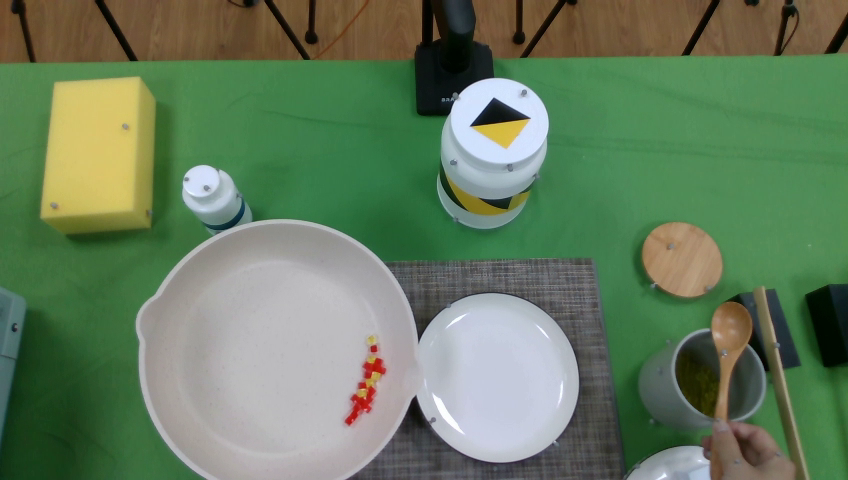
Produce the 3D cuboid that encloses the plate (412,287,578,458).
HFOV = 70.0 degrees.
[{"bbox_3d":[0.085,0.163,0.757,0.209,0.038,0.207,1,71,-1],"label":"plate"}]

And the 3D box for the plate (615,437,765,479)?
[{"bbox_3d":[0.313,0.339,0.709,0.208,0.039,0.206,1,70,-2],"label":"plate"}]

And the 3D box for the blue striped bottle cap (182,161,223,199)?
[{"bbox_3d":[-0.268,-0.073,0.732,0.044,0.021,0.044,1,72,-2],"label":"blue striped bottle cap"}]

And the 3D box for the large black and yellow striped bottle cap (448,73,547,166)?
[{"bbox_3d":[0.085,-0.141,0.702,0.115,0.019,0.114,1,72,-2],"label":"large black and yellow striped bottle cap"}]

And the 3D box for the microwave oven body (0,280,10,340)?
[{"bbox_3d":[-0.658,0.229,0.585,0.326,0.261,0.438,-1,71,-3],"label":"microwave oven body"}]

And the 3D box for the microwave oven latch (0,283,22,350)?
[{"bbox_3d":[-0.518,0.094,0.741,0.030,0.029,0.078,2,71,-2],"label":"microwave oven latch"}]

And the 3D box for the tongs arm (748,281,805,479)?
[{"bbox_3d":[0.451,0.237,0.720,0.051,0.026,0.383,-6,81,-6],"label":"tongs arm"}]

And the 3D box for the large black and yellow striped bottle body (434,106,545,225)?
[{"bbox_3d":[0.081,-0.111,0.781,0.131,0.185,0.130,1,70,-2],"label":"large black and yellow striped bottle body"}]

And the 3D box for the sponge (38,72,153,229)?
[{"bbox_3d":[-0.443,-0.123,0.828,0.118,0.061,0.205,-6,72,-5],"label":"sponge"}]

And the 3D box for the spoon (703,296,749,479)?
[{"bbox_3d":[0.315,0.155,0.648,0.041,0.022,0.193,5,70,36],"label":"spoon"}]

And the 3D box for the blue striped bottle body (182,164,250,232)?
[{"bbox_3d":[-0.269,-0.054,0.780,0.063,0.121,0.062,1,70,-2],"label":"blue striped bottle body"}]

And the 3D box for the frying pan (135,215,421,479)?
[{"bbox_3d":[-0.168,0.211,0.625,0.308,0.103,0.484,18,62,-17],"label":"frying pan"}]

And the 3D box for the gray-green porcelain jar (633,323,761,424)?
[{"bbox_3d":[0.317,0.163,0.723,0.106,0.127,0.105,1,70,-1],"label":"gray-green porcelain jar"}]

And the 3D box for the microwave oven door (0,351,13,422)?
[{"bbox_3d":[-0.511,0.265,0.573,0.039,0.245,0.353,-1,70,-2],"label":"microwave oven door"}]

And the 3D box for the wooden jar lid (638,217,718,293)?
[{"bbox_3d":[0.346,0.022,0.831,0.108,0.021,0.107,1,72,-2],"label":"wooden jar lid"}]
